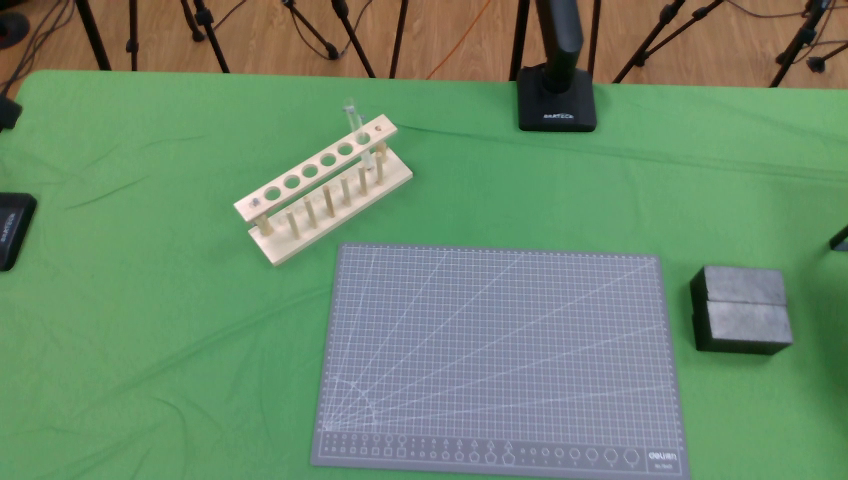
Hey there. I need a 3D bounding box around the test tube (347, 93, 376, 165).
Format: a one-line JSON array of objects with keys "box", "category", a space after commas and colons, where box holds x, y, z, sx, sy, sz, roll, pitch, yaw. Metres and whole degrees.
[{"box": [-0.084, -0.147, 0.828, 0.017, 0.151, 0.017, -2, 65, 4], "category": "test tube"}]

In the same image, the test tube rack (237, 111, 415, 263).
[{"box": [-0.129, -0.075, 0.847, 0.242, 0.086, 0.066, -35, 67, -16], "category": "test tube rack"}]
